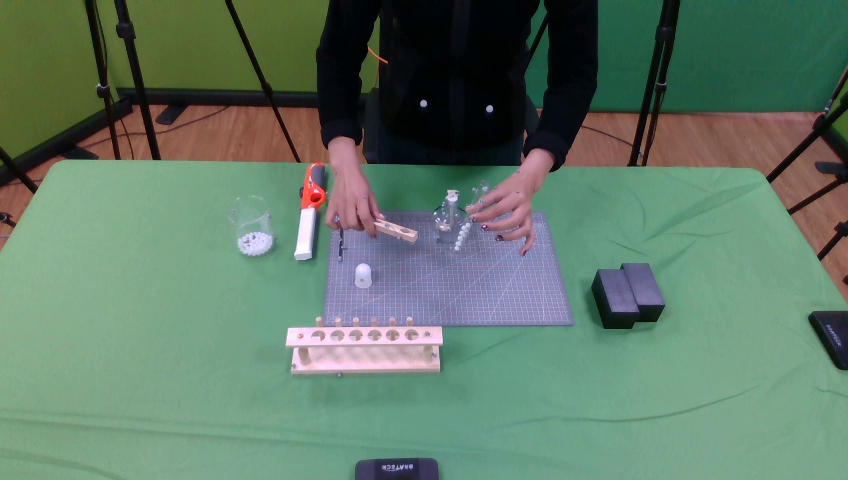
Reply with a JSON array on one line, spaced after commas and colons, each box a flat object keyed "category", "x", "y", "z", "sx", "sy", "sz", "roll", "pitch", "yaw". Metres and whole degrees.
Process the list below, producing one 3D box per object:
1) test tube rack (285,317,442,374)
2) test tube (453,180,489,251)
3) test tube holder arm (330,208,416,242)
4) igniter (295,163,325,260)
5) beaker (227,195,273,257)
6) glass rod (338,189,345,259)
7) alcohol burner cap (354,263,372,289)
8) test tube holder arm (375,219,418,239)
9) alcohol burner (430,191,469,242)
[{"category": "test tube rack", "x": -0.095, "y": 0.166, "z": 0.988, "sx": 0.242, "sy": 0.085, "sz": 0.066, "roll": 0, "pitch": 46, "yaw": -4}, {"category": "test tube", "x": 0.074, "y": -0.036, "z": 0.975, "sx": 0.017, "sy": 0.151, "sz": 0.017, "roll": 11, "pitch": 44, "yaw": -10}, {"category": "test tube holder arm", "x": -0.092, "y": -0.028, "z": 1.070, "sx": 0.178, "sy": 0.015, "sz": 0.013, "roll": 17, "pitch": 41, "yaw": 23}, {"category": "igniter", "x": -0.234, "y": -0.067, "z": 1.243, "sx": 0.057, "sy": 0.025, "sz": 0.274, "roll": -6, "pitch": 46, "yaw": 4}, {"category": "beaker", "x": -0.326, "y": -0.022, "z": 1.142, "sx": 0.074, "sy": 0.101, "sz": 0.083, "roll": 10, "pitch": 47, "yaw": 6}, {"category": "glass rod", "x": -0.166, "y": -0.037, "z": 1.227, "sx": 0.008, "sy": 0.008, "sz": 0.198, "roll": -1, "pitch": 47, "yaw": -4}, {"category": "alcohol burner cap", "x": -0.113, "y": 0.063, "z": 1.112, "sx": 0.034, "sy": 0.048, "sz": 0.033, "roll": 2, "pitch": 46, "yaw": -2}, {"category": "test tube holder arm", "x": -0.050, "y": -0.019, "z": 1.056, "sx": 0.087, "sy": 0.015, "sz": 0.010, "roll": 18, "pitch": 42, "yaw": 24}, {"category": "alcohol burner", "x": 0.052, "y": -0.053, "z": 1.185, "sx": 0.078, "sy": 0.119, "sz": 0.077, "roll": 2, "pitch": 48, "yaw": -2}]
